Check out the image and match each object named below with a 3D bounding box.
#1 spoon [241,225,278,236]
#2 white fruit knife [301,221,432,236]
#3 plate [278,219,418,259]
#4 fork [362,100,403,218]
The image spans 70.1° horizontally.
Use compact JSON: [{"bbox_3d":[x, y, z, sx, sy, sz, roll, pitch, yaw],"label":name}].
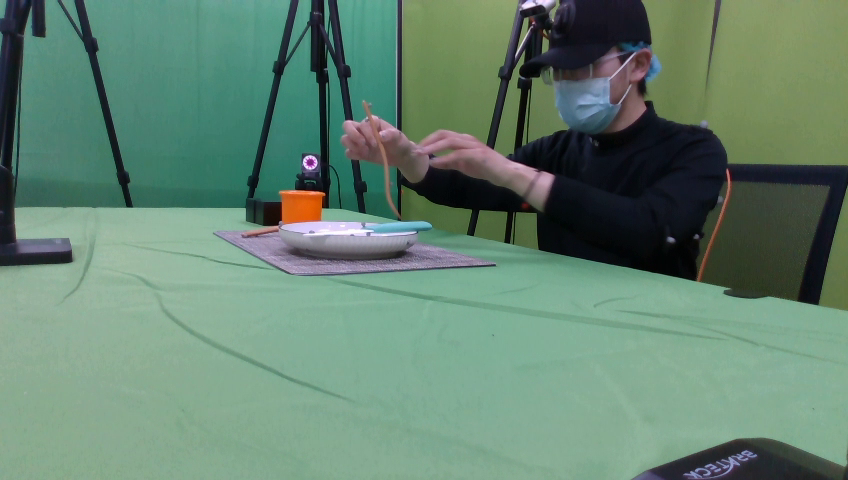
[{"bbox_3d":[-0.232,-0.021,1.082,0.195,0.021,0.041,-3,27,-37],"label":"spoon"},{"bbox_3d":[-0.079,-0.016,0.858,0.208,0.016,0.027,-5,14,-38],"label":"white fruit knife"},{"bbox_3d":[-0.114,-0.002,0.914,0.209,0.038,0.209,2,8,0],"label":"plate"},{"bbox_3d":[-0.069,-0.135,1.019,0.018,0.207,0.028,-15,6,0],"label":"fork"}]
